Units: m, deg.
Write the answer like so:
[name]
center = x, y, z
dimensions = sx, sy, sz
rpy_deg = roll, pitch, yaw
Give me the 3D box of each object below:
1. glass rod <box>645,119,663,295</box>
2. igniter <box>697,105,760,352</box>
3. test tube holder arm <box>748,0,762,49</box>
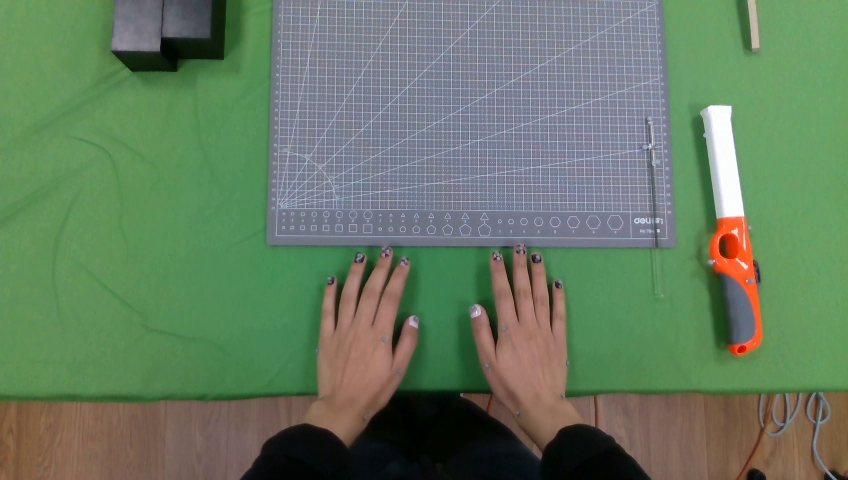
[glass rod]
center = 0.256, -0.039, 0.677
dimensions = 0.008, 0.008, 0.199
rpy_deg = -1, 82, -4
[igniter]
center = 0.338, -0.016, 0.672
dimensions = 0.057, 0.025, 0.275
rpy_deg = -2, 83, -14
[test tube holder arm]
center = 0.381, -0.313, 0.716
dimensions = 0.013, 0.015, 0.178
rpy_deg = -11, 82, 31
